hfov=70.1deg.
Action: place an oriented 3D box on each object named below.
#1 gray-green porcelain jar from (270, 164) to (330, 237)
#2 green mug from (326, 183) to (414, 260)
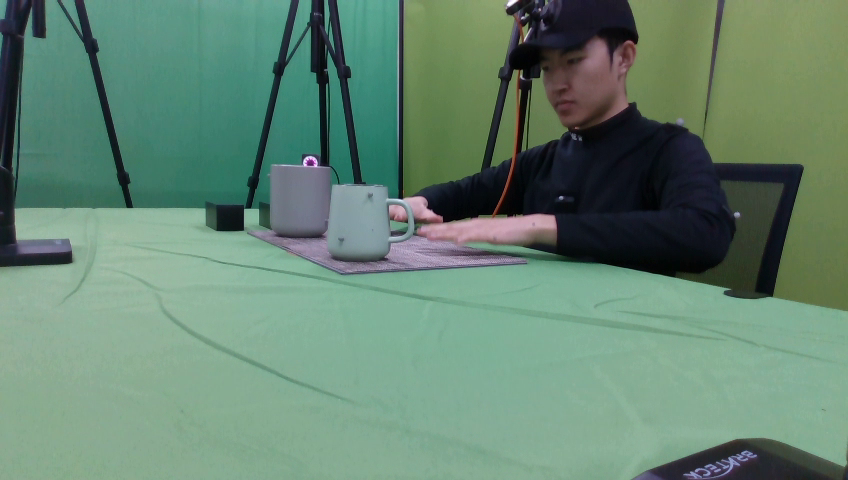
[{"bbox_3d":[-0.223,-0.072,1.090,0.106,0.126,0.106,2,8,0],"label":"gray-green porcelain jar"},{"bbox_3d":[-0.076,-0.027,0.858,0.125,0.105,0.092,3,7,8],"label":"green mug"}]
